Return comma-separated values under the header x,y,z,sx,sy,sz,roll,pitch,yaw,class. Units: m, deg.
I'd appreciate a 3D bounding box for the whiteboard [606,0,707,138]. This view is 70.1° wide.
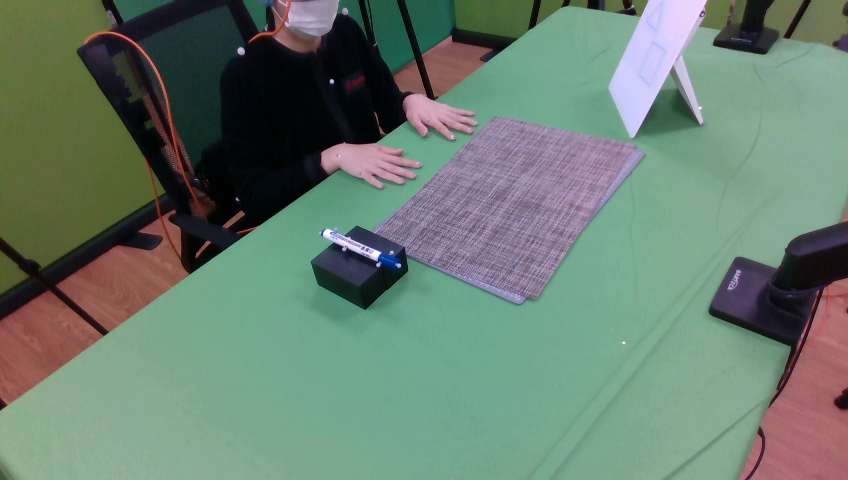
x,y,z,sx,sy,sz,roll,pitch,yaw,class
0.496,-0.359,1.147,0.144,0.305,0.216,11,40,-7,whiteboard

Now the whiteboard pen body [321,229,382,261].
x,y,z,sx,sy,sz,roll,pitch,yaw,class
-0.100,0.010,0.902,0.139,0.017,0.017,22,48,30,whiteboard pen body

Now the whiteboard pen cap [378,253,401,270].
x,y,z,sx,sy,sz,roll,pitch,yaw,class
-0.051,0.030,0.870,0.033,0.018,0.018,21,48,28,whiteboard pen cap
